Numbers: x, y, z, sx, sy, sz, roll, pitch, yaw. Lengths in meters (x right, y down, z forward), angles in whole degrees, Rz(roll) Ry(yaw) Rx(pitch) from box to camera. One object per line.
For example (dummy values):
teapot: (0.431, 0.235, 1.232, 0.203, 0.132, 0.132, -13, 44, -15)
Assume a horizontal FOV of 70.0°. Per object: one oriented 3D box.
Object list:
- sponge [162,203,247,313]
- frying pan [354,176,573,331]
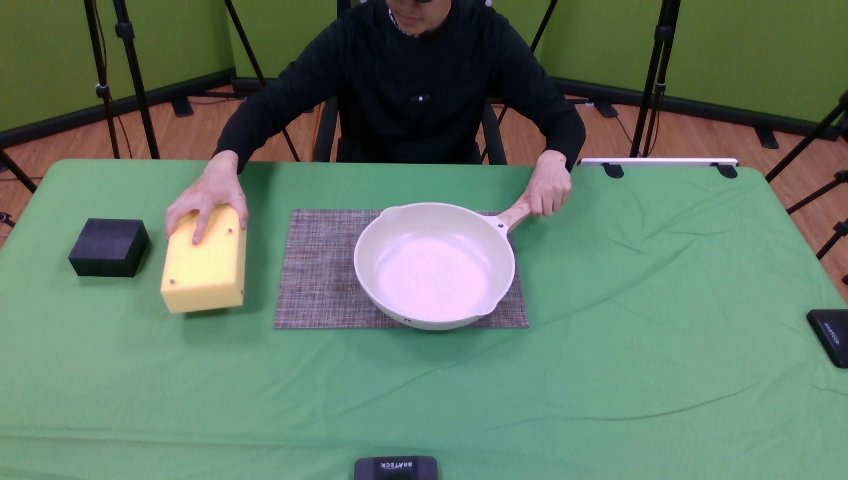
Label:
sponge: (-0.382, 0.027, 1.073, 0.118, 0.061, 0.205, -7, 45, -7)
frying pan: (0.103, -0.001, 1.142, 0.488, 0.103, 0.305, -31, 56, -19)
